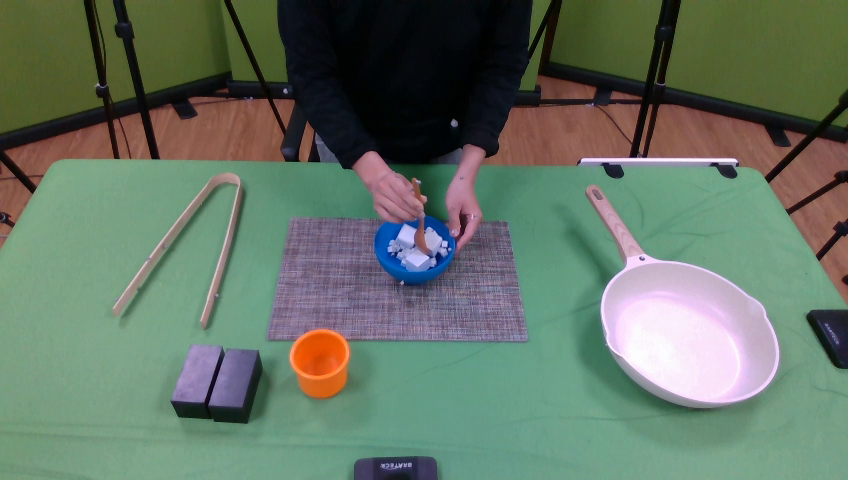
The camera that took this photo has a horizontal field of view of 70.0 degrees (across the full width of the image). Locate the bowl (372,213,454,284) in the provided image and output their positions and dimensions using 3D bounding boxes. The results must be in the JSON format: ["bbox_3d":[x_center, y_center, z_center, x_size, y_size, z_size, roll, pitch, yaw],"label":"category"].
[{"bbox_3d":[-0.021,0.028,1.124,0.151,0.077,0.150,2,46,-2],"label":"bowl"}]

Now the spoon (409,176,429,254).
[{"bbox_3d":[-0.011,-0.040,1.032,0.021,0.195,0.041,-29,53,-21],"label":"spoon"}]

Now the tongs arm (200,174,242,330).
[{"bbox_3d":[-0.387,0.008,1.158,0.028,0.028,0.385,-1,46,-3],"label":"tongs arm"}]

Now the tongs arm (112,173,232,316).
[{"bbox_3d":[-0.467,-0.005,1.157,0.051,0.026,0.382,11,45,4],"label":"tongs arm"}]

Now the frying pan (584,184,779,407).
[{"bbox_3d":[0.412,0.079,1.097,0.307,0.103,0.484,-10,56,-15],"label":"frying pan"}]
